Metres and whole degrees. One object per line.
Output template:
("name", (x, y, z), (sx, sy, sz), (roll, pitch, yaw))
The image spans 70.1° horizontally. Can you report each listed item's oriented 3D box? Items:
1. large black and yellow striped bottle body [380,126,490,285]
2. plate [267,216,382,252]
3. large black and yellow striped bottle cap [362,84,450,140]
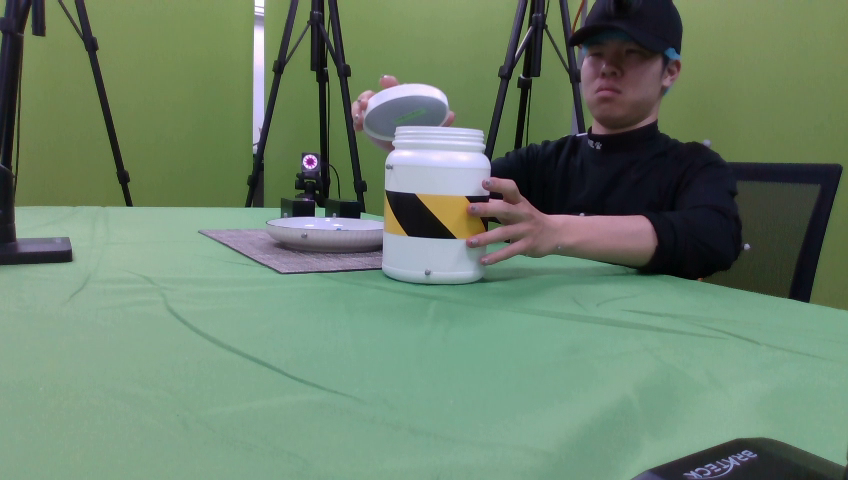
("large black and yellow striped bottle body", (0.013, -0.044, 0.746), (0.131, 0.184, 0.130), (3, 7, 0))
("plate", (-0.145, -0.010, 0.967), (0.208, 0.039, 0.207), (2, 7, 0))
("large black and yellow striped bottle cap", (-0.023, -0.165, 0.787), (0.115, 0.018, 0.115), (-9, -17, -3))
